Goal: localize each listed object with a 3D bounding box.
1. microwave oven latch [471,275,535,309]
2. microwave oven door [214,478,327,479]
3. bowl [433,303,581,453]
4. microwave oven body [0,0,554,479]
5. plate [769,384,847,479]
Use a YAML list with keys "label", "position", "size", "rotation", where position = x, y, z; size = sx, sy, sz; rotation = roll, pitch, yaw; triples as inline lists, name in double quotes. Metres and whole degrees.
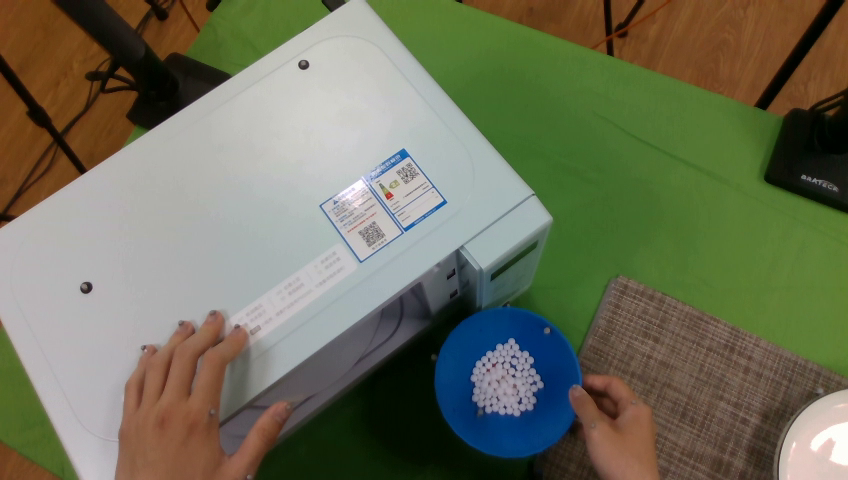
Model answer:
- label: "microwave oven latch"
  position: [0.094, 0.058, 0.718]
  size: [0.079, 0.030, 0.030]
  rotation: [-34, 73, -6]
- label: "microwave oven door"
  position: [-0.061, 0.248, 0.561]
  size: [0.356, 0.245, 0.039]
  rotation: [-1, 71, 4]
- label: "bowl"
  position: [0.085, 0.149, 0.648]
  size: [0.151, 0.077, 0.150]
  rotation: [-1, 72, 2]
- label: "microwave oven body"
  position: [-0.144, 0.019, 0.647]
  size: [0.441, 0.262, 0.324]
  rotation: [-36, 73, -7]
- label: "plate"
  position: [0.469, 0.258, 0.639]
  size: [0.207, 0.039, 0.206]
  rotation: [-1, 72, 4]
